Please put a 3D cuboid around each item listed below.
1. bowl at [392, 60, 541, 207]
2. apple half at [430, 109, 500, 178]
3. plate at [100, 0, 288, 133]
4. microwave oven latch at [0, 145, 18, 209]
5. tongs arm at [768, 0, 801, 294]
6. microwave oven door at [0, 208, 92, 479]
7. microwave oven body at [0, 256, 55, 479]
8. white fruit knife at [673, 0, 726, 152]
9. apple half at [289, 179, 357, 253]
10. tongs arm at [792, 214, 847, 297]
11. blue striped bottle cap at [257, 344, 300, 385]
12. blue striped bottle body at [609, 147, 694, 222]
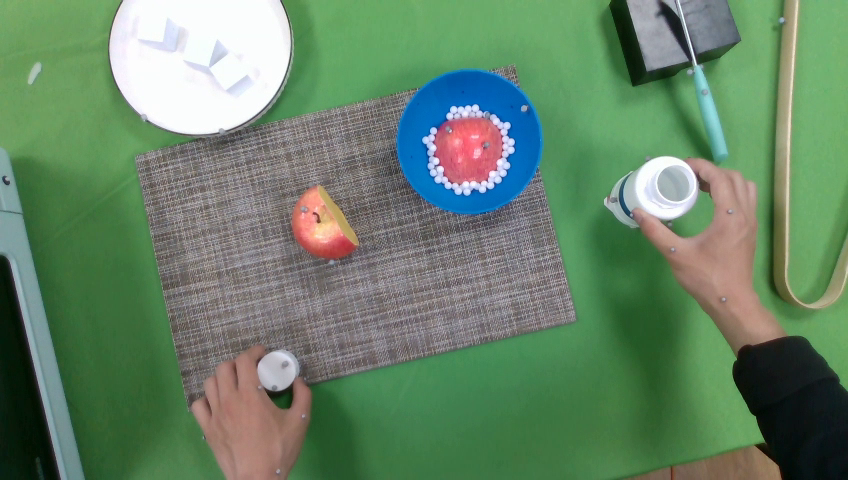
[{"bbox_3d":[0.044,-0.106,0.651,0.151,0.077,0.151,0,88,2],"label":"bowl"},{"bbox_3d":[0.045,-0.106,0.646,0.081,0.033,0.081,0,87,2],"label":"apple half"},{"bbox_3d":[-0.255,-0.221,0.687,0.208,0.039,0.207,0,88,1],"label":"plate"},{"bbox_3d":[-0.479,-0.071,0.670,0.030,0.029,0.079,-15,88,0],"label":"microwave oven latch"},{"bbox_3d":[0.404,-0.134,0.671,0.028,0.028,0.387,3,89,-1],"label":"tongs arm"},{"bbox_3d":[-0.426,0.135,0.561,0.039,0.244,0.355,-16,87,1],"label":"microwave oven door"},{"bbox_3d":[-0.579,0.134,0.569,0.326,0.260,0.441,-15,88,0],"label":"microwave oven body"},{"bbox_3d":[0.287,-0.188,0.646,0.016,0.027,0.208,-19,105,18],"label":"white fruit knife"},{"bbox_3d":[-0.115,-0.019,0.655,0.053,0.074,0.081,-33,91,4],"label":"apple half"},{"bbox_3d":[0.484,-0.118,0.665,0.051,0.026,0.384,16,90,3],"label":"tongs arm"},{"bbox_3d":[-0.164,0.140,0.680,0.044,0.020,0.044,0,87,-2],"label":"blue striped bottle cap"},{"bbox_3d":[0.235,-0.057,0.624,0.063,0.121,0.063,0,85,6],"label":"blue striped bottle body"}]
